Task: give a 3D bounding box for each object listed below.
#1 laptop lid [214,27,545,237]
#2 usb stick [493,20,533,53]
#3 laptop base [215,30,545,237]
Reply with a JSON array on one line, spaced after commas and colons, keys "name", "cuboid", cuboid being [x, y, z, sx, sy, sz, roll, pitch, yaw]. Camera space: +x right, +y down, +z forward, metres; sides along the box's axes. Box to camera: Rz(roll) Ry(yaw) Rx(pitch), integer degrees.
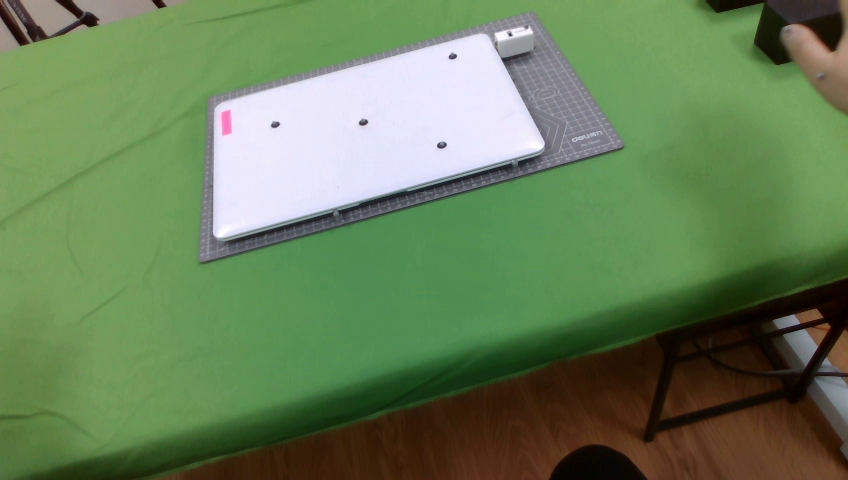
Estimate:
[{"name": "laptop lid", "cuboid": [-0.067, -0.135, 0.684, 0.357, 0.013, 0.239, -15, 51, 0]}, {"name": "usb stick", "cuboid": [0.102, -0.247, 0.740, 0.059, 0.027, 0.021, -16, 48, 2]}, {"name": "laptop base", "cuboid": [-0.065, -0.130, 0.694, 0.354, 0.023, 0.233, -16, 52, -1]}]
